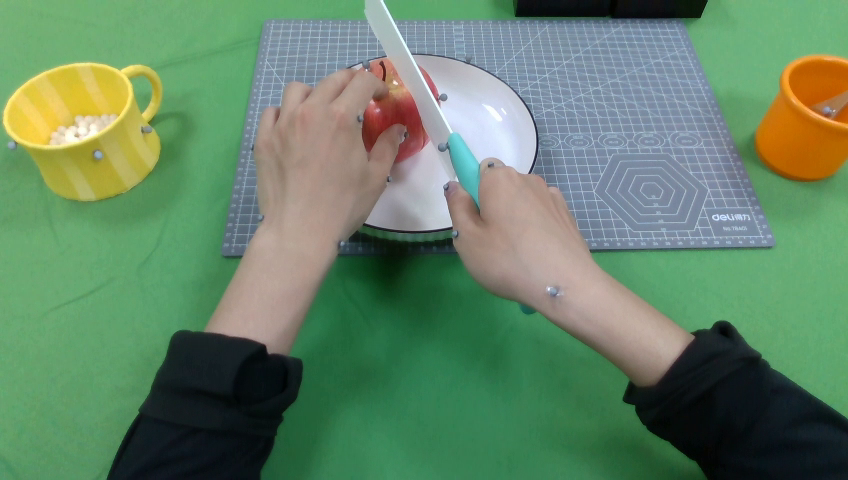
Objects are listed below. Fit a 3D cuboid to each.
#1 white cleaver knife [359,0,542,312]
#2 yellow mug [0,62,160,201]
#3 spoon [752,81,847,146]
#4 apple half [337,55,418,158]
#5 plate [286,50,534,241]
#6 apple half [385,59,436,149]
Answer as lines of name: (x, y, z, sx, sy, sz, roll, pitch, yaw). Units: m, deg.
white cleaver knife: (0.012, -0.077, 0.445, 0.021, 0.066, 0.284, -24, 75, -8)
yellow mug: (-0.278, -0.102, 0.516, 0.099, 0.064, 0.130, 28, 59, 17)
spoon: (0.374, -0.137, 0.505, 0.022, 0.194, 0.041, 27, 42, -38)
apple half: (-0.044, -0.104, 0.503, 0.053, 0.075, 0.080, -24, 65, -10)
plate: (-0.012, -0.082, 0.522, 0.209, 0.038, 0.207, 1, 56, -1)
apple half: (-0.009, -0.119, 0.514, 0.033, 0.082, 0.080, -24, 60, -13)
